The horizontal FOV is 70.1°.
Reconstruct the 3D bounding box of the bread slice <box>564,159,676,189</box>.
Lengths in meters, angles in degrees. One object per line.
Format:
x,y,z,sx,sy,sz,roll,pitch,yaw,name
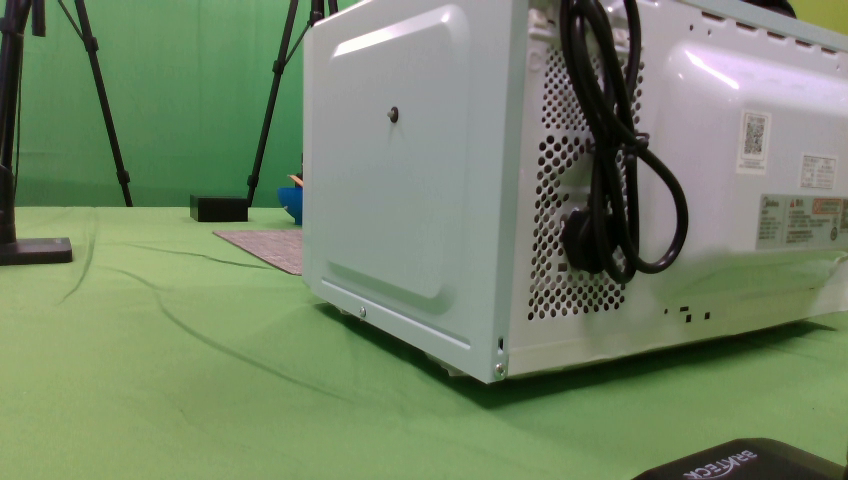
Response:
0.188,-0.063,0.577,0.104,0.019,0.132,8,6,16,bread slice

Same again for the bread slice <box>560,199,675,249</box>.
0.187,-0.016,0.579,0.107,0.018,0.134,-8,10,13,bread slice

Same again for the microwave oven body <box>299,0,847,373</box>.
0.152,-0.055,0.542,0.444,0.260,0.324,-2,7,-33,microwave oven body

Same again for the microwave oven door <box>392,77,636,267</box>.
0.112,-0.102,0.867,0.354,0.243,0.039,7,8,32,microwave oven door

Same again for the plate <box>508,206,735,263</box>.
0.186,-0.007,0.590,0.208,0.039,0.207,2,7,0,plate

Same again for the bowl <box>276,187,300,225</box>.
-0.241,-0.073,1.302,0.151,0.077,0.151,2,7,0,bowl

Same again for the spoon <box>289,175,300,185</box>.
-0.261,-0.111,1.343,0.042,0.021,0.192,-7,33,-31,spoon

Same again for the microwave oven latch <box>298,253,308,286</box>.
-0.081,0.027,0.582,0.079,0.029,0.030,-1,7,-32,microwave oven latch

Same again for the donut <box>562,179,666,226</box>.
0.183,-0.036,0.588,0.099,0.048,0.099,0,4,0,donut
